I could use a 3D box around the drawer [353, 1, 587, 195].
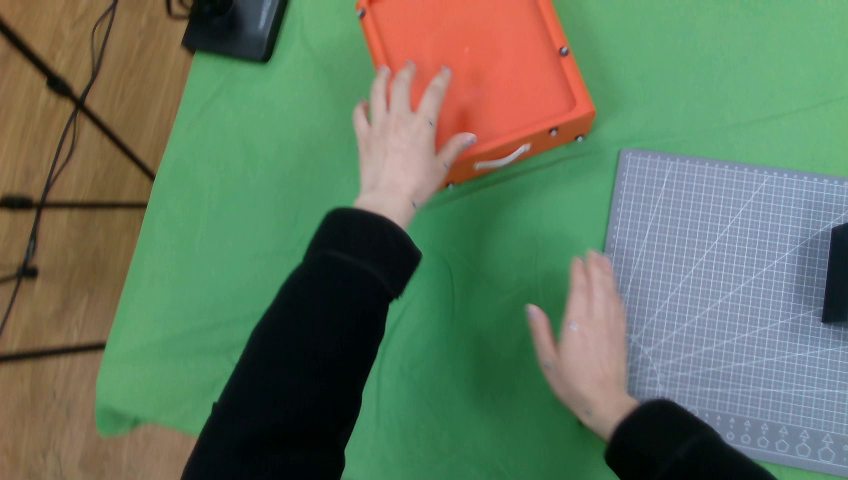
[{"bbox_3d":[0.047,-0.180,0.666,0.194,0.073,0.210,-20,78,5],"label":"drawer"}]

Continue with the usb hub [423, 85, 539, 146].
[{"bbox_3d":[0.062,-0.138,0.672,0.125,0.025,0.049,-6,81,12],"label":"usb hub"}]

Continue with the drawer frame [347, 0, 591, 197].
[{"bbox_3d":[0.046,-0.182,0.664,0.201,0.083,0.212,-21,78,5],"label":"drawer frame"}]
